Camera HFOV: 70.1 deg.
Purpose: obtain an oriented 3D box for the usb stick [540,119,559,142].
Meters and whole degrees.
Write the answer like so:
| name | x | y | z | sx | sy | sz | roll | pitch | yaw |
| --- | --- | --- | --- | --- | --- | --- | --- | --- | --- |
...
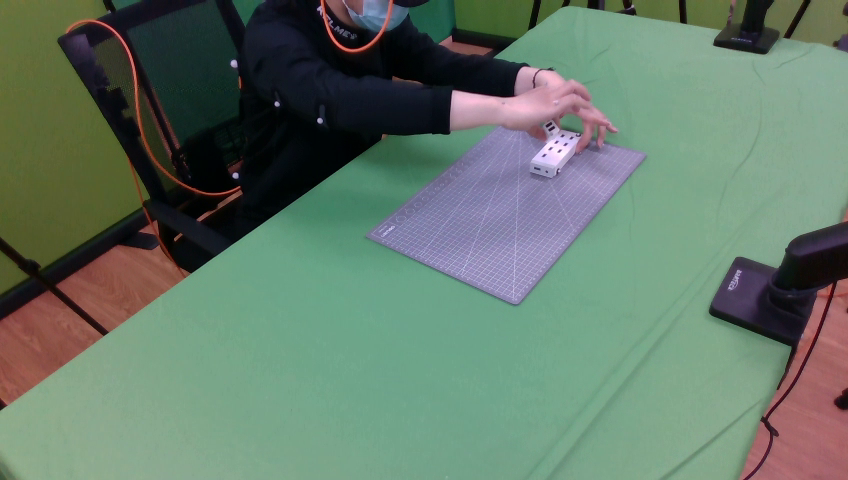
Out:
| name | x | y | z | sx | sy | sz | roll | pitch | yaw |
| --- | --- | --- | --- | --- | --- | --- | --- | --- | --- |
| usb stick | 0.223 | -0.193 | 1.077 | 0.021 | 0.059 | 0.027 | -32 | 80 | 1 |

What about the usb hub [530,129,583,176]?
| name | x | y | z | sx | sy | sz | roll | pitch | yaw |
| --- | --- | --- | --- | --- | --- | --- | --- | --- | --- |
| usb hub | 0.245 | -0.162 | 1.116 | 0.049 | 0.025 | 0.125 | 22 | 48 | 29 |
